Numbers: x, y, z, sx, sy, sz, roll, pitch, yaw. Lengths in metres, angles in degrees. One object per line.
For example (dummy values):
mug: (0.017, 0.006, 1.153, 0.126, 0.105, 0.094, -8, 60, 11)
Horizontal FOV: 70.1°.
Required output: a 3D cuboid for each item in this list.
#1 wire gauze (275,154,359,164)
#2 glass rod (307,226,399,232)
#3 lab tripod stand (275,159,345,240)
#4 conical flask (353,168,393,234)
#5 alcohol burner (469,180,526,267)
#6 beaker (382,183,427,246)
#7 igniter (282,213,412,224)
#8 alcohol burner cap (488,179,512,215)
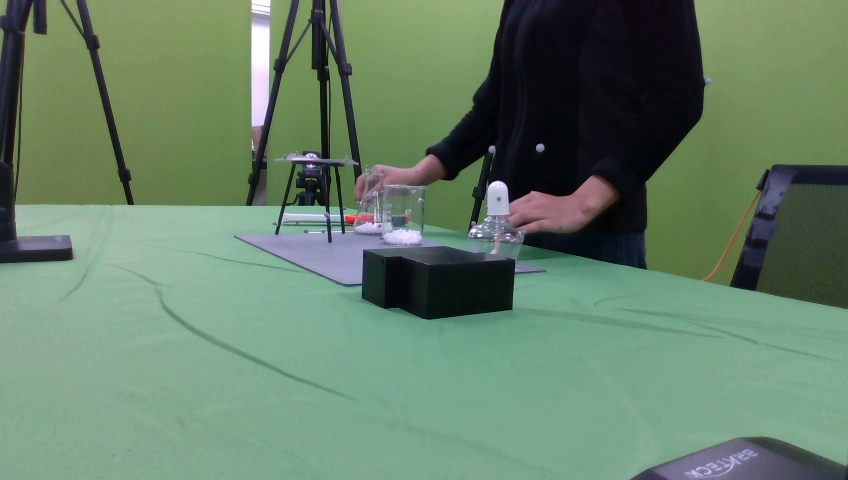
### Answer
wire gauze: (-0.179, -0.137, 1.028, 0.121, 0.011, 0.125, 4, 8, 0)
glass rod: (-0.135, -0.022, 1.184, 0.201, 0.008, 0.008, -3, 8, -33)
lab tripod stand: (-0.181, -0.072, 1.039, 0.148, 0.131, 0.148, 4, 8, 0)
conical flask: (-0.094, -0.073, 1.126, 0.075, 0.122, 0.075, 2, 7, 0)
alcohol burner: (0.101, -0.022, 0.822, 0.078, 0.119, 0.078, 4, 8, 0)
beaker: (-0.033, -0.044, 1.008, 0.074, 0.100, 0.084, 6, 8, 22)
igniter: (-0.159, -0.046, 1.287, 0.278, 0.025, 0.057, -1, -2, -21)
alcohol burner cap: (0.101, -0.058, 0.816, 0.034, 0.048, 0.034, -4, 8, 1)
